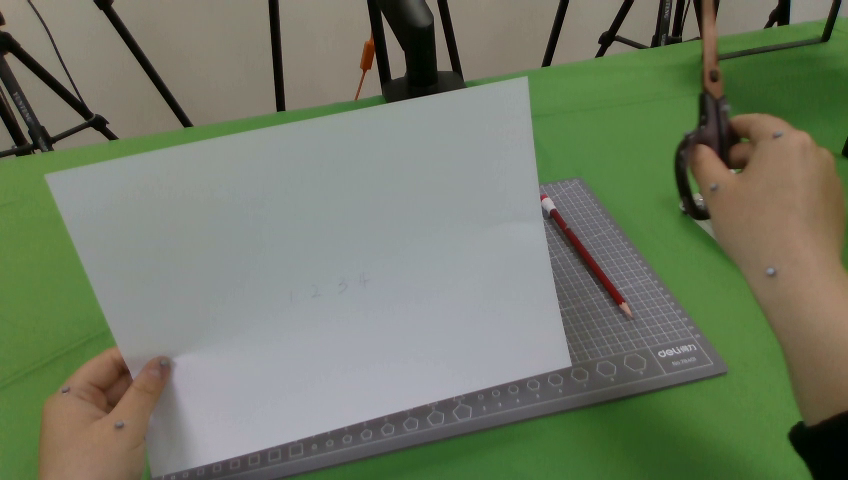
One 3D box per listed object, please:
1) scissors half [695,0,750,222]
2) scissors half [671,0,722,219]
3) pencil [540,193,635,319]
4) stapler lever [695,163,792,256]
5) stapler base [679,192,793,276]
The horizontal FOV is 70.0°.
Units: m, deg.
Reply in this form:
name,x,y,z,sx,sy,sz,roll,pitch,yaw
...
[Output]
name,x,y,z,sx,sy,sz,roll,pitch,yaw
scissors half,0.203,-0.099,0.421,0.040,0.175,0.013,-6,-3,-33
scissors half,0.186,-0.100,0.412,0.040,0.174,0.012,11,-12,-26
pencil,0.157,0.010,0.597,0.012,0.012,0.192,-14,41,-9
stapler lever,0.307,-0.035,0.586,0.027,0.040,0.116,-16,42,-9
stapler base,0.308,-0.016,0.604,0.041,0.025,0.129,-16,42,-9
